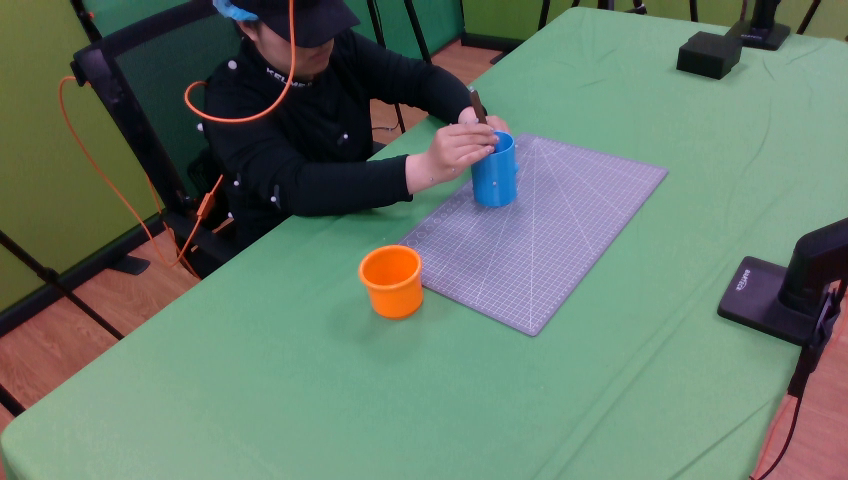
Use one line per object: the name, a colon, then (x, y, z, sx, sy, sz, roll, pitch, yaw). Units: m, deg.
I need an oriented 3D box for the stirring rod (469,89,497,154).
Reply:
stirring rod: (0.102, -0.162, 0.963, 0.014, 0.177, 0.005, -29, 38, -5)

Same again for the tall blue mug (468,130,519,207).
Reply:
tall blue mug: (0.114, -0.130, 1.045, 0.078, 0.108, 0.106, -20, 41, -11)
